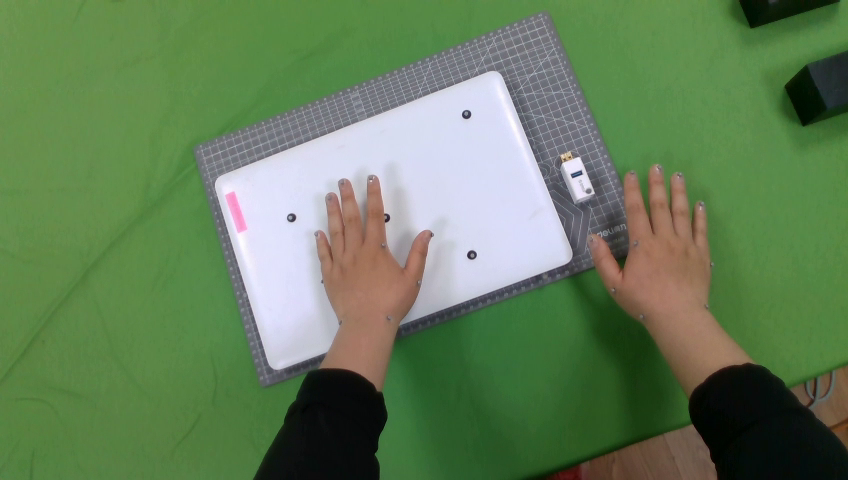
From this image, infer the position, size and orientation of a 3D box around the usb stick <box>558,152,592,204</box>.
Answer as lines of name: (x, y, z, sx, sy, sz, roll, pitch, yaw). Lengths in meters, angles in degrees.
usb stick: (0.161, -0.071, 0.657, 0.021, 0.027, 0.059, -20, 75, 6)

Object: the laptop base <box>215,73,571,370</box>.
laptop base: (-0.043, -0.023, 0.681, 0.354, 0.023, 0.234, -21, 81, 3)

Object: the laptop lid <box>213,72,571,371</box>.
laptop lid: (-0.043, -0.023, 0.669, 0.357, 0.013, 0.240, -19, 81, 4)
